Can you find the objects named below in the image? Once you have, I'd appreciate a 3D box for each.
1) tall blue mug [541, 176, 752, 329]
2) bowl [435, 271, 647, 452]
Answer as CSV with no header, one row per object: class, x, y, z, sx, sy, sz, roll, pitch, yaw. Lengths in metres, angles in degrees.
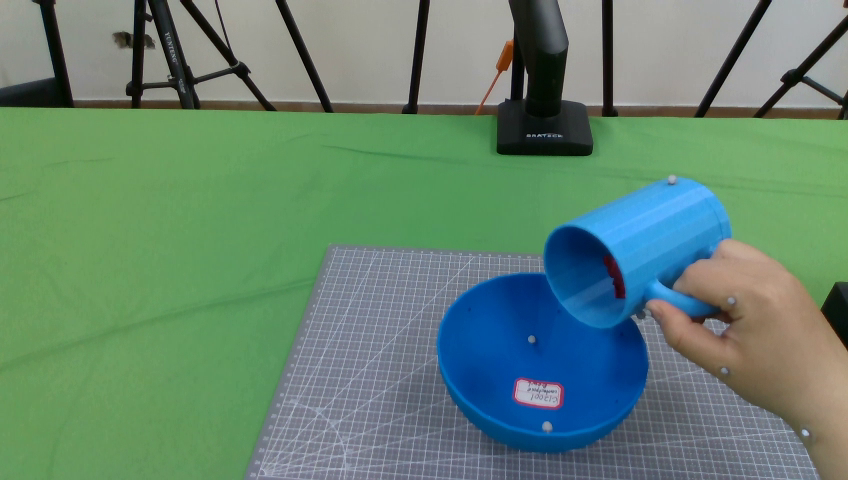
tall blue mug,0.156,0.007,0.415,0.108,0.078,0.106,-23,7,-26
bowl,0.084,0.102,0.459,0.151,0.077,0.150,-1,41,1
